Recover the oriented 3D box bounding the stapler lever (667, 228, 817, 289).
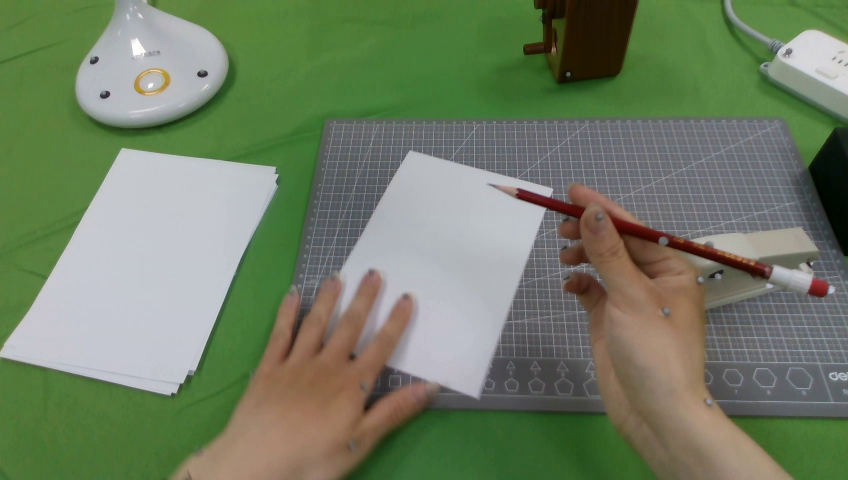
[{"bbox_3d":[0.240,0.010,0.455,0.118,0.040,0.026,-13,56,-8],"label":"stapler lever"}]

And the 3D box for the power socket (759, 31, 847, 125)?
[{"bbox_3d":[0.437,-0.130,0.574,0.072,0.033,0.224,-34,59,-21],"label":"power socket"}]

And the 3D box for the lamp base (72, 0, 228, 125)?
[{"bbox_3d":[-0.301,-0.234,0.591,0.161,0.182,0.177,-25,55,-15],"label":"lamp base"}]

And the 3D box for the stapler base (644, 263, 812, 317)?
[{"bbox_3d":[0.240,0.026,0.474,0.131,0.024,0.041,-13,56,-8],"label":"stapler base"}]

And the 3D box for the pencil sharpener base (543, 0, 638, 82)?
[{"bbox_3d":[0.160,-0.219,0.605,0.077,0.108,0.060,-9,55,-3],"label":"pencil sharpener base"}]

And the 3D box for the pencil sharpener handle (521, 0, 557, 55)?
[{"bbox_3d":[0.110,-0.214,0.588,0.031,0.068,0.035,-9,32,-3],"label":"pencil sharpener handle"}]

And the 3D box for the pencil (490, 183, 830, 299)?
[{"bbox_3d":[0.128,-0.004,0.351,0.193,0.012,0.012,20,58,18],"label":"pencil"}]
